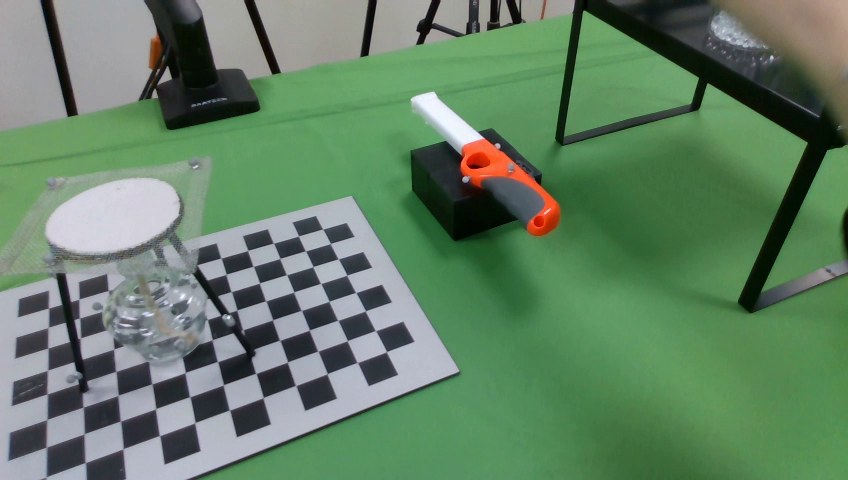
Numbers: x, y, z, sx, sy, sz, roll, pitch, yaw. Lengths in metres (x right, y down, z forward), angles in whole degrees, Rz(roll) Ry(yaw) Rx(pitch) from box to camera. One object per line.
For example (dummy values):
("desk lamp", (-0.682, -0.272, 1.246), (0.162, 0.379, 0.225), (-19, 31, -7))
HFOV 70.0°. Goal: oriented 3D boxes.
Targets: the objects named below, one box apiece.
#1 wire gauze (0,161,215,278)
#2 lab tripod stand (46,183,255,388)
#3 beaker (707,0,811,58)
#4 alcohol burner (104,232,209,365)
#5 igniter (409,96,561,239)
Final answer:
("wire gauze", (-0.211, -0.015, 0.416), (0.125, 0.011, 0.120), (-4, 40, -6))
("lab tripod stand", (-0.208, 0.034, 0.463), (0.148, 0.132, 0.147), (1, 39, 0))
("beaker", (0.277, -0.206, 0.490), (0.073, 0.101, 0.084), (21, 46, 25))
("alcohol burner", (-0.212, 0.041, 0.470), (0.078, 0.120, 0.077), (-2, 42, 2))
("igniter", (0.054, -0.083, 0.611), (0.057, 0.025, 0.273), (-20, 42, -16))
